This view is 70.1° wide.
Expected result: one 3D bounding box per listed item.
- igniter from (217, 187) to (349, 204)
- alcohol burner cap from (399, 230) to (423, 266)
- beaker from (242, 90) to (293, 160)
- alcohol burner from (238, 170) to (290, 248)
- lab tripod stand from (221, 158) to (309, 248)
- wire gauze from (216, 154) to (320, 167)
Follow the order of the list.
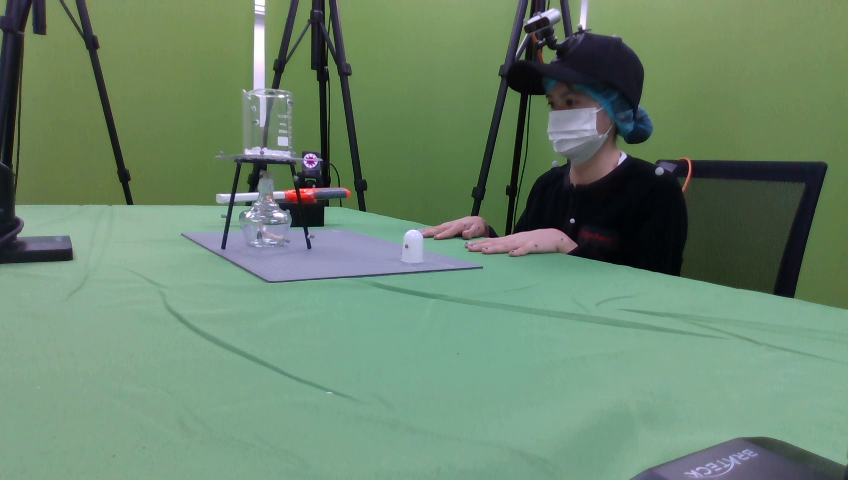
[{"bbox_3d":[-0.285,-0.093,1.256,0.278,0.025,0.057,-6,12,-34],"label":"igniter"},{"bbox_3d":[-0.017,0.010,0.837,0.034,0.048,0.034,3,7,0],"label":"alcohol burner cap"},{"bbox_3d":[-0.235,-0.169,0.900,0.074,0.100,0.084,4,7,23],"label":"beaker"},{"bbox_3d":[-0.244,-0.048,0.927,0.078,0.119,0.078,3,5,0],"label":"alcohol burner"},{"bbox_3d":[-0.244,-0.057,0.917,0.148,0.131,0.148,1,7,0],"label":"lab tripod stand"},{"bbox_3d":[-0.236,-0.121,0.906,0.126,0.011,0.121,0,8,-33],"label":"wire gauze"}]
